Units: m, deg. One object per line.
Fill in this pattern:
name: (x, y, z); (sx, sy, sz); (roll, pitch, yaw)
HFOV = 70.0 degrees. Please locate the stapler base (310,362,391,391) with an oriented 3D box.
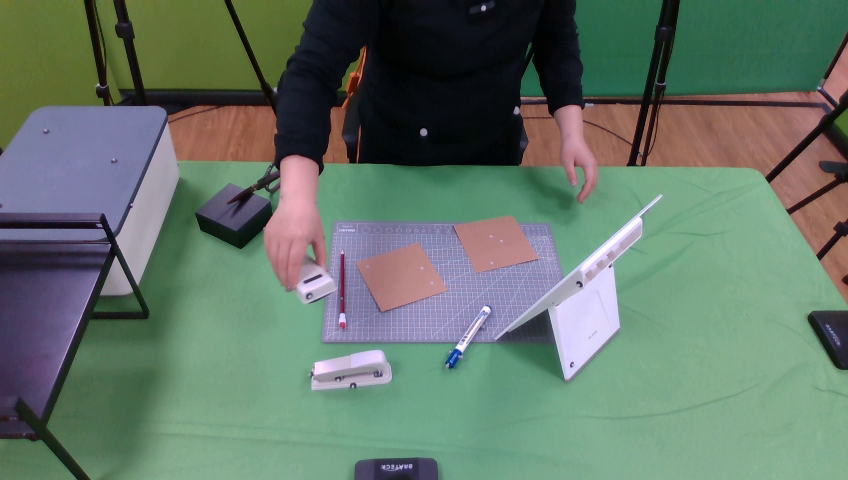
stapler base: (-0.119, 0.215, 0.981); (0.131, 0.024, 0.041); (-6, 44, -7)

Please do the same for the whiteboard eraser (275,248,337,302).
whiteboard eraser: (-0.184, 0.056, 0.941); (0.055, 0.042, 0.112); (-21, 36, -28)

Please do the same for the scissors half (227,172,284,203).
scissors half: (-0.340, -0.101, 1.230); (0.013, 0.040, 0.175); (20, 28, 18)

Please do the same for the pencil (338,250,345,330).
pencil: (-0.152, 0.085, 1.108); (0.012, 0.012, 0.192); (-2, 44, -7)

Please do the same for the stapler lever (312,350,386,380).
stapler lever: (-0.120, 0.198, 0.963); (0.118, 0.040, 0.026); (-5, 44, -8)

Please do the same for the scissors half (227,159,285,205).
scissors half: (-0.336, -0.117, 1.218); (0.013, 0.040, 0.175); (24, 46, 14)

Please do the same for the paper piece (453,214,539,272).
paper piece: (0.142, 0.003, 1.212); (0.135, 0.004, 0.135); (-11, 47, -13)

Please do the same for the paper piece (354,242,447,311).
paper piece: (-0.045, 0.066, 1.137); (0.136, 0.009, 0.137); (-14, 48, -22)

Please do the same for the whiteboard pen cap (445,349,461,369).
whiteboard pen cap: (0.049, 0.197, 1.011); (0.018, 0.018, 0.033); (24, 49, 17)

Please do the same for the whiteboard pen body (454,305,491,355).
whiteboard pen body: (0.079, 0.163, 1.047); (0.017, 0.017, 0.140); (26, 50, 19)

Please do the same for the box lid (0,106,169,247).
box lid: (-0.624, -0.125, 1.067); (0.263, 0.015, 0.369); (0, 46, -4)

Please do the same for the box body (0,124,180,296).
box body: (-0.628, -0.075, 1.122); (0.254, 0.161, 0.361); (1, 46, -4)

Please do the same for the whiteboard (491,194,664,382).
whiteboard: (0.280, 0.100, 0.969); (0.217, 0.306, 0.143); (-33, 77, -31)
